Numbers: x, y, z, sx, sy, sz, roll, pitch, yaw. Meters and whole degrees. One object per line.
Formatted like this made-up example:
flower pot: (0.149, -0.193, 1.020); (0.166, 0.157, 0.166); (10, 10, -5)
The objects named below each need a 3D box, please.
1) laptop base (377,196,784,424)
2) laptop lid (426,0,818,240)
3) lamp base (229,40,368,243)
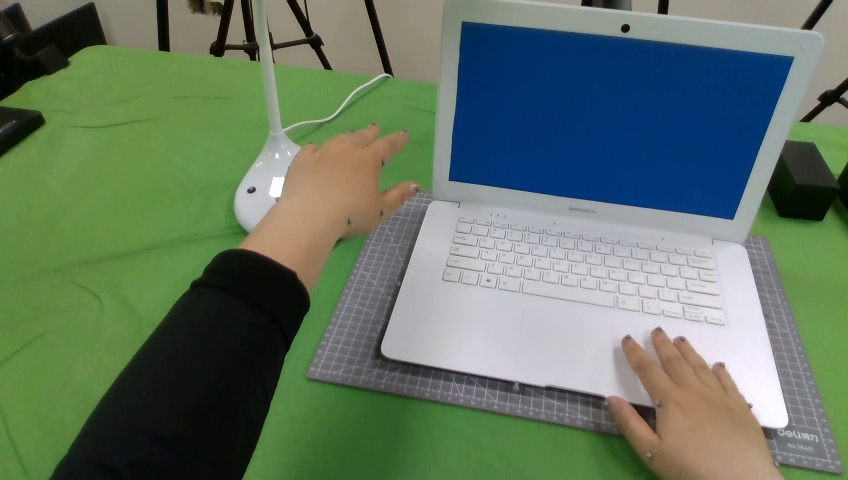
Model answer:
laptop base: (0.150, 0.056, 0.609); (0.354, 0.023, 0.233); (8, 45, 7)
laptop lid: (0.179, -0.119, 0.629); (0.356, 0.243, 0.013); (7, 34, 8)
lamp base: (-0.153, -0.115, 0.670); (0.161, 0.182, 0.177); (-27, 47, -29)
